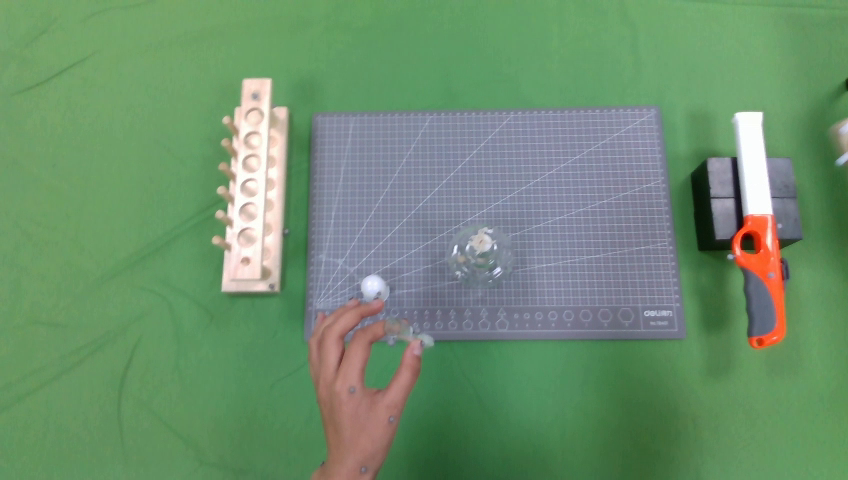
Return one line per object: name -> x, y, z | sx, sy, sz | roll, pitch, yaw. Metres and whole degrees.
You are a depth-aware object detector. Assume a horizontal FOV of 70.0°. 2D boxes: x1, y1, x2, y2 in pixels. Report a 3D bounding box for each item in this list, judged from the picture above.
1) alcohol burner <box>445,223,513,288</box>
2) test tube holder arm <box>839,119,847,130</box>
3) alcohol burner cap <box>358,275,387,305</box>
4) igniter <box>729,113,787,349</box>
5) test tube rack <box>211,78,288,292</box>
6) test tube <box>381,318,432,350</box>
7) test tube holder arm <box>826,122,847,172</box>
alcohol burner -> 0.062, 0.014, 0.683 | 0.078, 0.119, 0.077 | 0, 77, 2
test tube holder arm -> 0.359, -0.058, 0.490 | 0.010, 0.015, 0.087 | -26, 88, 2
alcohol burner cap -> -0.061, 0.056, 0.711 | 0.034, 0.048, 0.033 | 0, 75, 1
igniter -> 0.373, -0.015, 0.685 | 0.057, 0.025, 0.275 | 1, 75, 8
test tube rack -> -0.211, -0.064, 0.724 | 0.067, 0.085, 0.241 | 0, 76, 1
test tube -> -0.012, 0.086, 0.546 | 0.017, 0.151, 0.017 | -3, 76, 11
test tube holder arm -> 0.374, -0.015, 0.489 | 0.013, 0.015, 0.178 | -26, 88, 2
